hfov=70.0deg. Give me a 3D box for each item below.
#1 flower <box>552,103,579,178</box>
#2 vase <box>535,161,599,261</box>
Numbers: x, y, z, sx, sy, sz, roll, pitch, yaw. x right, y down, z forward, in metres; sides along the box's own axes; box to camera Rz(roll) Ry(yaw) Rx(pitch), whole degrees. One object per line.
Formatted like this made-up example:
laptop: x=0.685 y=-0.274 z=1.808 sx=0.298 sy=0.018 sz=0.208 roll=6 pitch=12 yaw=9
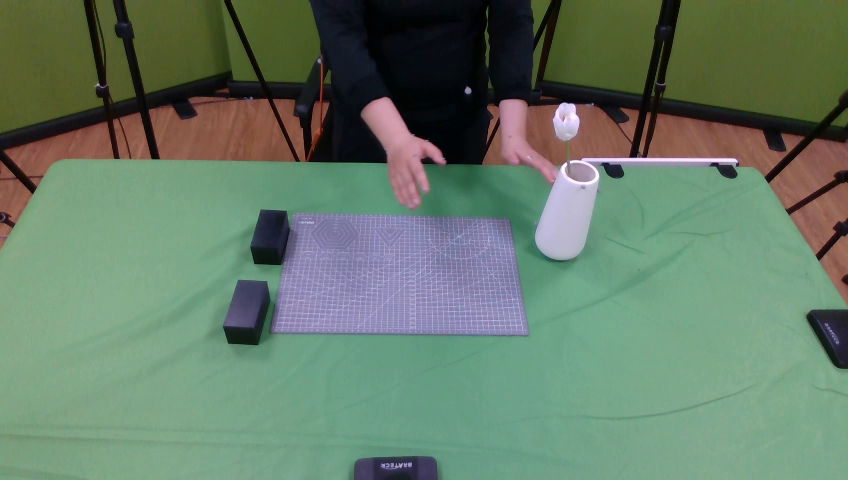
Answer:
flower: x=0.259 y=-0.102 z=1.079 sx=0.038 sy=0.364 sz=0.043 roll=-26 pitch=54 yaw=-2
vase: x=0.271 y=-0.051 z=1.145 sx=0.098 sy=0.201 sz=0.097 roll=1 pitch=46 yaw=-1
